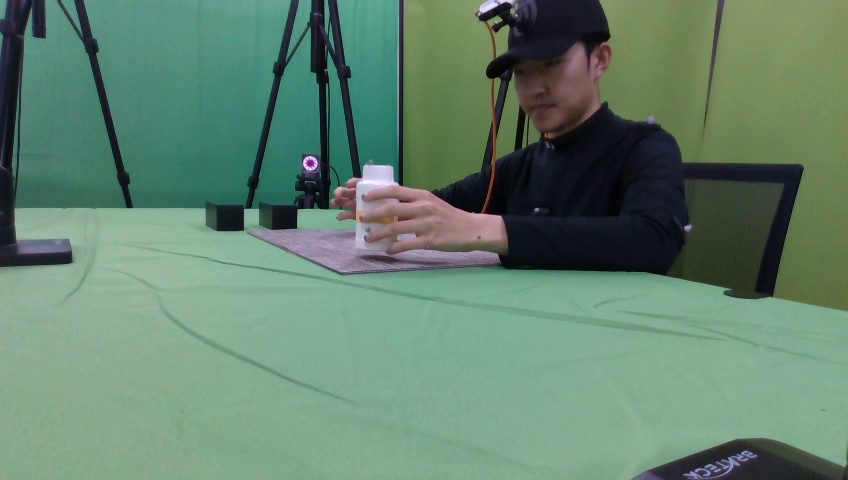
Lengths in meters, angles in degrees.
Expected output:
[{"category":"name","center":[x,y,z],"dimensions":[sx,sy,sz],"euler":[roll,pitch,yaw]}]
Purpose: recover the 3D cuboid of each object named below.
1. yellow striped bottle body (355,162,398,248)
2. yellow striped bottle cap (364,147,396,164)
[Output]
[{"category":"yellow striped bottle body","center":[-0.068,-0.049,0.869],"dimensions":[0.063,0.120,0.063],"euler":[1,1,0]},{"category":"yellow striped bottle cap","center":[-0.063,-0.120,0.859],"dimensions":[0.044,0.018,0.044],"euler":[9,6,-1]}]
